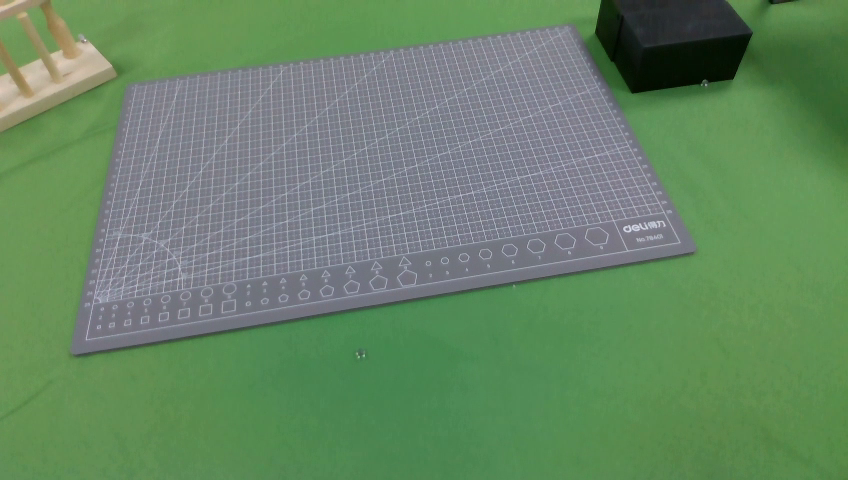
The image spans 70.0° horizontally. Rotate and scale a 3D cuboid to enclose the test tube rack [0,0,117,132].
[{"bbox_3d":[-0.419,-0.142,0.541,0.242,0.086,0.066,-36,59,-22],"label":"test tube rack"}]
